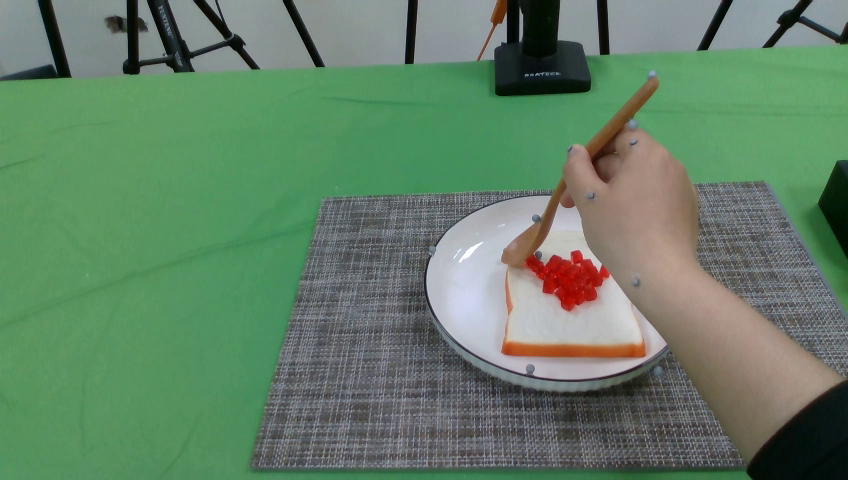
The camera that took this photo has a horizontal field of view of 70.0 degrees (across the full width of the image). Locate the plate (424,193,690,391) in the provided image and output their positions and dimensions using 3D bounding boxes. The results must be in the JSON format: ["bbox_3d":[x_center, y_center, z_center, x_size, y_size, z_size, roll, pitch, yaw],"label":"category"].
[{"bbox_3d":[0.104,0.039,0.498,0.209,0.038,0.207,-3,43,3],"label":"plate"}]

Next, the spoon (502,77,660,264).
[{"bbox_3d":[0.108,-0.042,0.446,0.021,0.195,0.041,28,46,1],"label":"spoon"}]

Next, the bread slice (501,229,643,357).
[{"bbox_3d":[0.116,0.039,0.498,0.105,0.019,0.130,0,43,6],"label":"bread slice"}]
